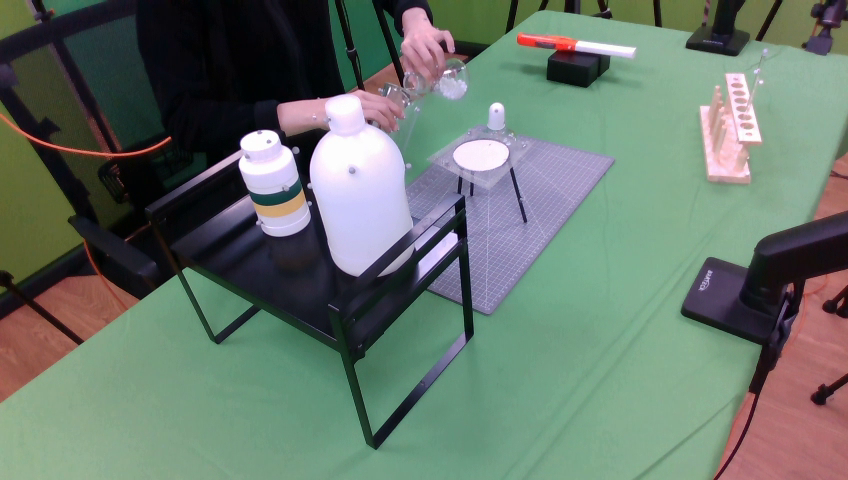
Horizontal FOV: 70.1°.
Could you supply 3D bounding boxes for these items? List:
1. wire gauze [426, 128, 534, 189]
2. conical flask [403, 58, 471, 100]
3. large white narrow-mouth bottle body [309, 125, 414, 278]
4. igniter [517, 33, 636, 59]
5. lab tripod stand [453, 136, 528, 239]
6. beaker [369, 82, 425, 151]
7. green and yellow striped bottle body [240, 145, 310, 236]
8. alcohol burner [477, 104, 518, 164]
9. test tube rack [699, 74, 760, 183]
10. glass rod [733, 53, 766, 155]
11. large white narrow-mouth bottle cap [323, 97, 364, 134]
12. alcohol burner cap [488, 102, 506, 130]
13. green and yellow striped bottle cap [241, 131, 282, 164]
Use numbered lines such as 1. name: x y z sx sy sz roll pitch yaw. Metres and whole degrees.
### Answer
1. wire gauze: 0.086 -0.131 0.924 0.124 0.011 0.122 26 52 33
2. conical flask: 0.019 -0.279 1.063 0.074 0.075 0.123 29 34 35
3. large white narrow-mouth bottle body: -0.068 -0.057 0.644 0.102 0.195 0.101 -4 42 4
4. igniter: 0.336 -0.441 1.369 0.275 0.025 0.057 16 41 23
5. lab tripod stand: 0.094 -0.086 0.974 0.148 0.132 0.147 -4 43 4
6. beaker: -0.050 -0.208 1.031 0.074 0.100 0.084 23 8 10
7. green and yellow striped bottle body: -0.181 -0.069 0.729 0.063 0.120 0.063 -4 40 4
8. alcohol burner: 0.135 -0.200 1.117 0.078 0.119 0.077 -4 43 4
9. test tube rack: 0.547 -0.208 1.095 0.066 0.085 0.242 6 42 16
10. glass rod: 0.540 -0.220 1.007 0.008 0.201 0.008 -5 45 6
11. large white narrow-mouth bottle cap: -0.077 -0.121 0.584 0.038 0.024 0.037 -3 42 4
12. alcohol burner cap: 0.133 -0.227 1.092 0.034 0.048 0.033 -1 47 2
13. green and yellow striped bottle cap: -0.187 -0.107 0.695 0.045 0.020 0.045 -3 39 3
